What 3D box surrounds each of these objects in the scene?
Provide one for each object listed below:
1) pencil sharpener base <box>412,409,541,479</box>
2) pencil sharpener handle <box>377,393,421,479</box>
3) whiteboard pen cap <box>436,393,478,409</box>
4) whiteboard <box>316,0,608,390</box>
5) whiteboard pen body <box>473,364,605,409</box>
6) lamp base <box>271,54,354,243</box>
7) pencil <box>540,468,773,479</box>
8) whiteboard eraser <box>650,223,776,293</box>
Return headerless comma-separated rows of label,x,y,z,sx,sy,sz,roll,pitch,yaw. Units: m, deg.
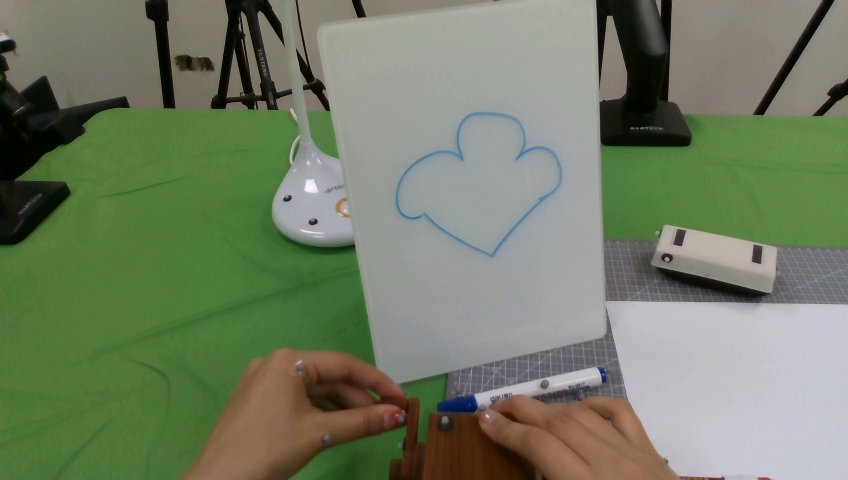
pencil sharpener base,0.033,0.165,0.397,0.076,0.108,0.061,0,39,5
pencil sharpener handle,-0.018,0.131,0.393,0.030,0.036,0.067,0,52,5
whiteboard pen cap,0.027,0.137,0.498,0.033,0.018,0.018,-12,39,-9
whiteboard,0.034,-0.052,0.560,0.217,0.307,0.142,-11,19,-8
whiteboard pen body,0.085,0.125,0.507,0.141,0.017,0.017,-11,39,-8
lamp base,-0.118,-0.114,0.703,0.161,0.182,0.177,-30,43,-30
pencil,0.113,0.146,0.372,0.194,0.012,0.012,1,38,3
whiteboard eraser,0.292,0.019,0.615,0.112,0.042,0.055,15,43,21
